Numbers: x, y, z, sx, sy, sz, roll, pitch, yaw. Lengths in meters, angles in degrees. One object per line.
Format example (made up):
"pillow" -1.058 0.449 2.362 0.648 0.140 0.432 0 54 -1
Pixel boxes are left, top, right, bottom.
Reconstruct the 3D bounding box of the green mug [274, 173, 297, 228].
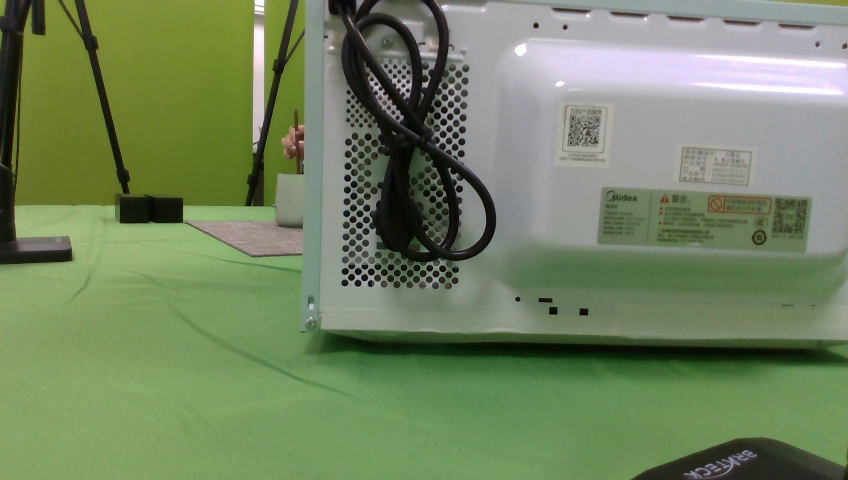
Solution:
"green mug" -0.242 -0.081 1.221 0.092 0.105 0.126 8 10 39

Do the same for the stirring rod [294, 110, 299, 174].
"stirring rod" -0.250 -0.169 1.195 0.006 0.176 0.014 -2 2 0

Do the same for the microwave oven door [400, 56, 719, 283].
"microwave oven door" 0.155 -0.078 0.697 0.356 0.243 0.039 2 8 -5

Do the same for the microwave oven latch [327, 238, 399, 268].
"microwave oven latch" -0.069 0.014 0.694 0.079 0.029 0.030 3 7 -3

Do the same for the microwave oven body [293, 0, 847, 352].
"microwave oven body" 0.122 -0.055 0.550 0.442 0.260 0.325 3 7 -5
